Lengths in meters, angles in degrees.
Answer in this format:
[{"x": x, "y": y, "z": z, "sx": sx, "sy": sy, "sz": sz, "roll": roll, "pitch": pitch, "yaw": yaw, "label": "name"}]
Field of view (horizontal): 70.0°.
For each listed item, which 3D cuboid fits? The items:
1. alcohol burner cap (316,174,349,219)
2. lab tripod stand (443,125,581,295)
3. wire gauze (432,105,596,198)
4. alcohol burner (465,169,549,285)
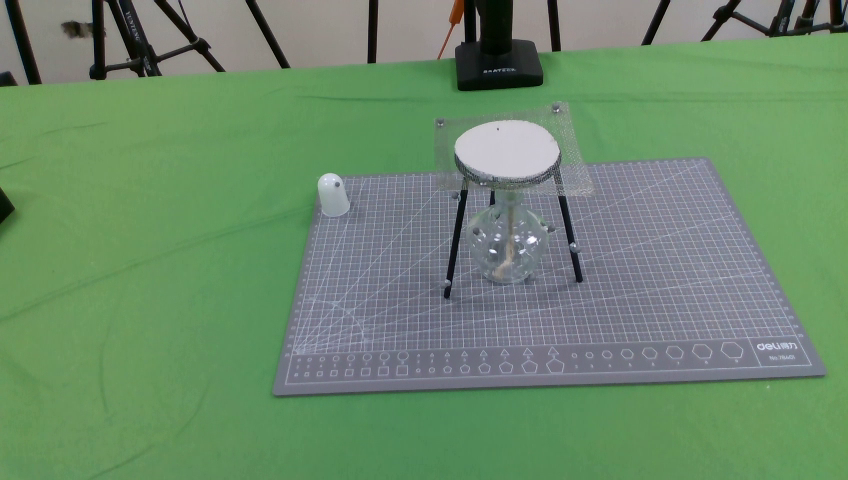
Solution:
[{"x": -0.101, "y": -0.051, "z": 0.660, "sx": 0.034, "sy": 0.048, "sz": 0.033, "roll": -2, "pitch": 44, "yaw": 2, "label": "alcohol burner cap"}, {"x": 0.077, "y": -0.026, "z": 0.550, "sx": 0.148, "sy": 0.133, "sz": 0.147, "roll": -1, "pitch": 42, "yaw": 2, "label": "lab tripod stand"}, {"x": 0.069, "y": -0.075, "z": 0.503, "sx": 0.125, "sy": 0.011, "sz": 0.120, "roll": -2, "pitch": 43, "yaw": 2, "label": "wire gauze"}, {"x": 0.076, "y": -0.016, "z": 0.554, "sx": 0.078, "sy": 0.120, "sz": 0.077, "roll": -1, "pitch": 43, "yaw": 2, "label": "alcohol burner"}]
